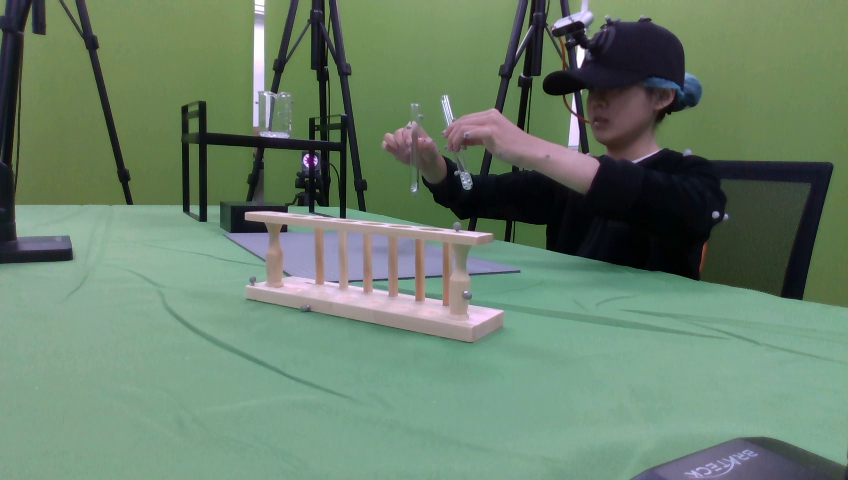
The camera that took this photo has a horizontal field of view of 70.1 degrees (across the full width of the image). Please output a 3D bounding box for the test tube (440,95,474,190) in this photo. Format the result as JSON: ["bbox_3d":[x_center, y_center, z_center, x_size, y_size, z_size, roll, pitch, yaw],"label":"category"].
[{"bbox_3d":[0.048,-0.142,0.875,0.017,0.150,0.017,-13,-15,-3],"label":"test tube"}]

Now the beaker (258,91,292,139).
[{"bbox_3d":[-0.331,-0.276,1.343,0.074,0.100,0.083,0,8,-20],"label":"beaker"}]

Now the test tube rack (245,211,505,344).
[{"bbox_3d":[-0.049,0.025,0.547,0.241,0.085,0.067,7,8,28],"label":"test tube rack"}]

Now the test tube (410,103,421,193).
[{"bbox_3d":[-0.014,-0.152,1.014,0.017,0.150,0.017,2,17,0],"label":"test tube"}]
